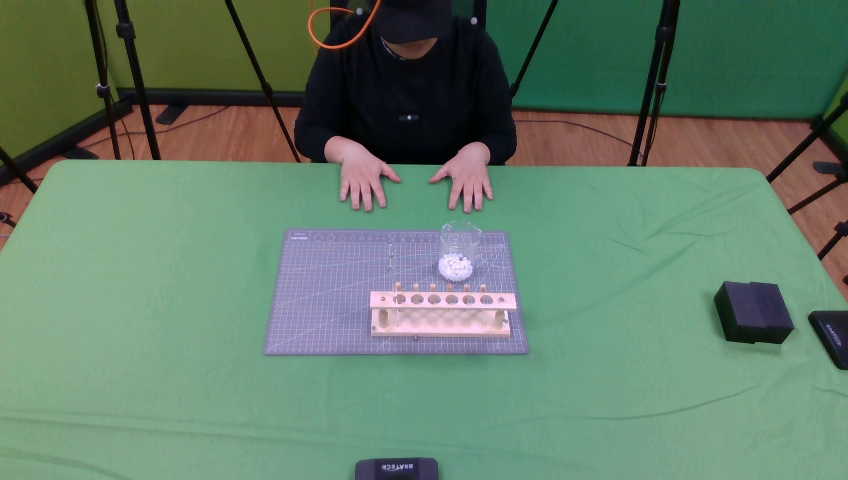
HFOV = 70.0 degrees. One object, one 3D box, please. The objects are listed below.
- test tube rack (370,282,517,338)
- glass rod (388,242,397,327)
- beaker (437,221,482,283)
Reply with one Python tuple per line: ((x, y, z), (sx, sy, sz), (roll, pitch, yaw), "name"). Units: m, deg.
((0.030, 0.116, 1.041), (0.242, 0.085, 0.066), (1, 46, -3), "test tube rack")
((-0.051, 0.076, 0.981), (0.008, 0.201, 0.008), (0, 44, 1), "glass rod")
((0.064, 0.024, 1.124), (0.084, 0.101, 0.073), (-13, 49, -17), "beaker")
